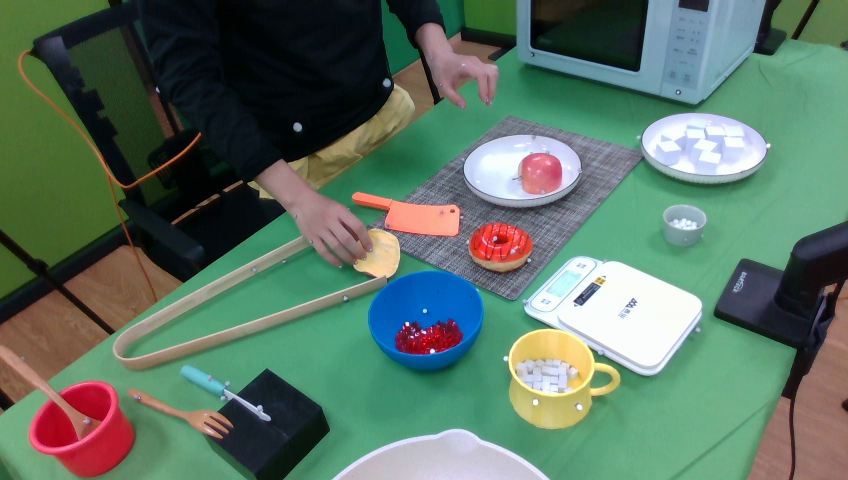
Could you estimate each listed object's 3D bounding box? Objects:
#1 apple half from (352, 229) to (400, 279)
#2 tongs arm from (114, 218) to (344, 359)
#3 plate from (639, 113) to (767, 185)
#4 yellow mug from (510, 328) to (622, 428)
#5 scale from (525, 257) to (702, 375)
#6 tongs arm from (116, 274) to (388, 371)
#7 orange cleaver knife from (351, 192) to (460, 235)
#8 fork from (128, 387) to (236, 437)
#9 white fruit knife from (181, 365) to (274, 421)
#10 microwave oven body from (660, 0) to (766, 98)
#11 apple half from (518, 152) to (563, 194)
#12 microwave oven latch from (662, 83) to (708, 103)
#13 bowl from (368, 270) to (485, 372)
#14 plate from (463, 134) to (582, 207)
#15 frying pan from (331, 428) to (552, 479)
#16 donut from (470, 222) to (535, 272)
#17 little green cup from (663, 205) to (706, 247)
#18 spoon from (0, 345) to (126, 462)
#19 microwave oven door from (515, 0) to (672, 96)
[{"bbox_3d":[-0.068,0.024,0.931,0.081,0.033,0.081,-2,81,12],"label":"apple half"},{"bbox_3d":[-0.280,0.068,0.927,0.386,0.026,0.050,-29,49,-23],"label":"tongs arm"},{"bbox_3d":[0.489,-0.157,1.074,0.207,0.039,0.206,-4,40,4],"label":"plate"},{"bbox_3d":[0.169,0.164,0.722,0.130,0.064,0.099,0,40,8],"label":"yellow mug"},{"bbox_3d":[0.254,0.091,0.821,0.199,0.032,0.149,28,51,35],"label":"scale"},{"bbox_3d":[-0.237,0.116,0.869,0.389,0.028,0.028,-18,49,-12],"label":"tongs arm"},{"bbox_3d":[-0.036,-0.045,1.028,0.210,0.012,0.077,10,49,18],"label":"orange cleaver knife"},{"bbox_3d":[-0.305,0.207,0.744,0.206,0.019,0.028,3,41,36],"label":"fork"},{"bbox_3d":[-0.246,0.187,0.747,0.205,0.027,0.016,9,41,40],"label":"white fruit knife"},{"bbox_3d":[0.472,-0.513,1.317,0.438,0.261,0.327,26,51,34],"label":"microwave oven body"},{"bbox_3d":[0.203,-0.124,1.047,0.074,0.053,0.080,-1,41,3],"label":"apple half"},{"bbox_3d":[0.517,-0.296,1.204,0.078,0.029,0.030,28,52,35],"label":"microwave oven latch"},{"bbox_3d":[0.007,0.118,0.791,0.151,0.077,0.150,-4,40,4],"label":"bowl"},{"bbox_3d":[0.173,-0.119,1.070,0.209,0.038,0.208,-4,40,4],"label":"plate"},{"bbox_3d":[-0.089,0.305,0.564,0.487,0.103,0.306,10,41,7],"label":"frying pan"},{"bbox_3d":[0.119,0.009,0.923,0.099,0.048,0.098,-4,38,3],"label":"donut"},{"bbox_3d":[0.396,-0.020,0.926,0.061,0.039,0.061,-4,40,4],"label":"little green cup"},{"bbox_3d":[-0.434,0.192,0.720,0.194,0.021,0.042,47,53,-7],"label":"spoon"},{"bbox_3d":[0.343,-0.454,1.259,0.353,0.245,0.039,26,51,33],"label":"microwave oven door"}]
